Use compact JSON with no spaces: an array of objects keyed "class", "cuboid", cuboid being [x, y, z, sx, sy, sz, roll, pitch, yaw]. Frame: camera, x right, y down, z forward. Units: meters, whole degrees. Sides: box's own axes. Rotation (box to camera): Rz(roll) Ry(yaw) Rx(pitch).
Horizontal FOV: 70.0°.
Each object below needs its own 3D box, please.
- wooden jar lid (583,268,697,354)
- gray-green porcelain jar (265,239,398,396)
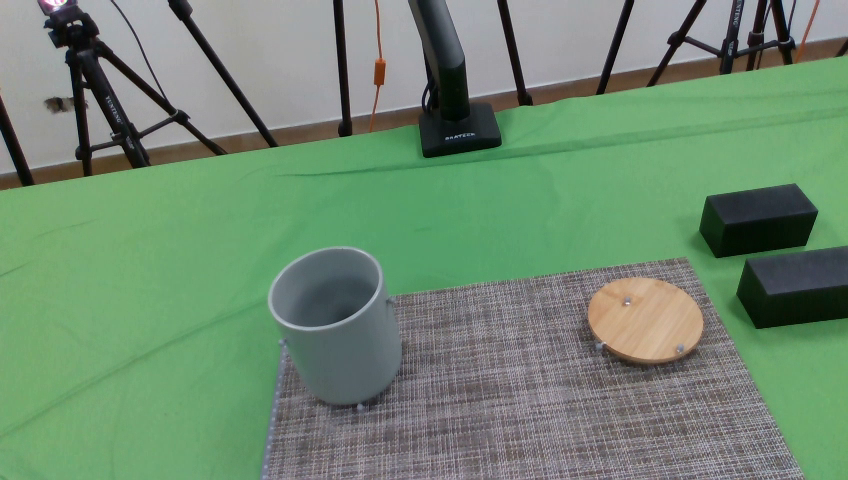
[{"class":"wooden jar lid","cuboid":[0.216,0.072,0.610,0.108,0.021,0.107,-6,43,6]},{"class":"gray-green porcelain jar","cuboid":[-0.083,0.080,0.582,0.106,0.128,0.105,-5,42,5]}]
